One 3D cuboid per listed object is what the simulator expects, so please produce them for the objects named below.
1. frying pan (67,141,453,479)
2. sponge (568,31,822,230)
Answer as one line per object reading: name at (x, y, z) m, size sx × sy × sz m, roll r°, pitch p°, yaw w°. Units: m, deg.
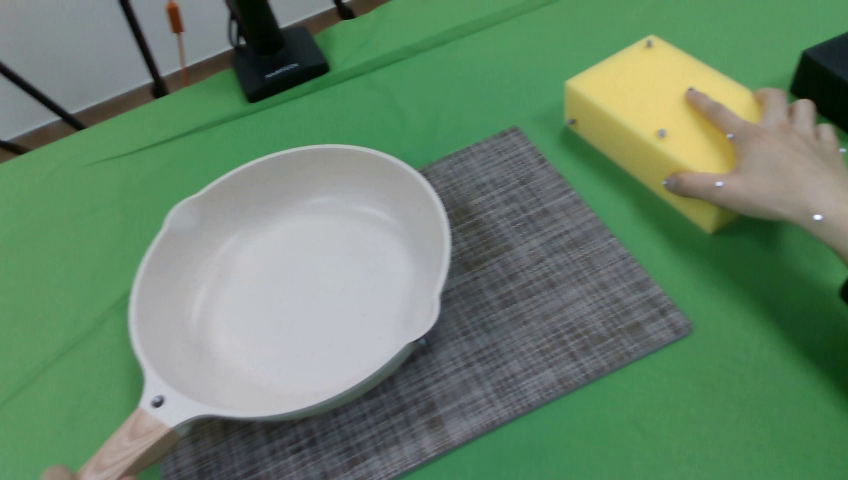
frying pan at (-0.171, 0.096, 0.504) m, size 0.304 × 0.104 × 0.486 m, roll 22°, pitch 52°, yaw 28°
sponge at (0.255, -0.117, 0.601) m, size 0.118 × 0.061 × 0.204 m, roll -30°, pitch 52°, yaw -12°
